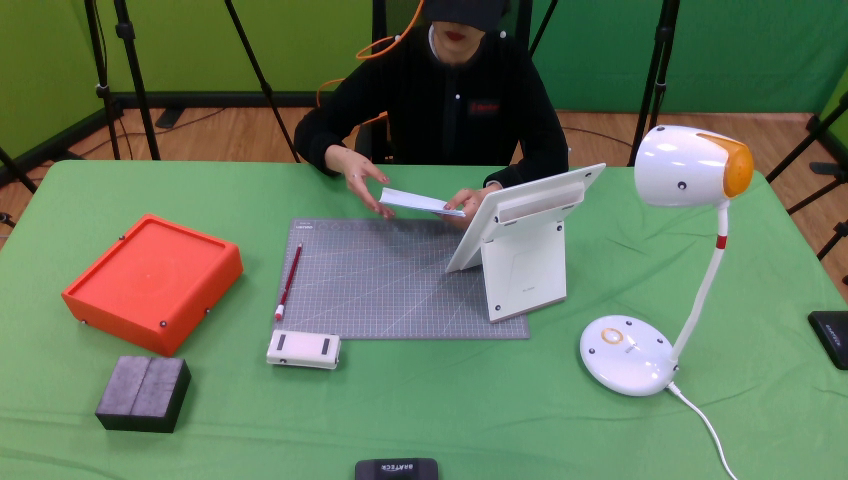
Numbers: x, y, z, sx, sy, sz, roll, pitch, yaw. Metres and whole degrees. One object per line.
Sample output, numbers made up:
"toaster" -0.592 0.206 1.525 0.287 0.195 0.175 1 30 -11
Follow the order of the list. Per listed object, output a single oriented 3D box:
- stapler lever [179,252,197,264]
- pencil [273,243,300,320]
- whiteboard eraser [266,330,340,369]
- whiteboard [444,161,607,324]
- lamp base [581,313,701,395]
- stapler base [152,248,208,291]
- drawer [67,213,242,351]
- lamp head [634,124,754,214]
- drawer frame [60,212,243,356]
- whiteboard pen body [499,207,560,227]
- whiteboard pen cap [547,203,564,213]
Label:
"stapler lever" -0.441 0.025 1.087 0.117 0.040 0.027 29 35 31
"pencil" -0.249 0.071 1.115 0.012 0.012 0.193 5 44 1
"whiteboard eraser" -0.198 0.181 0.994 0.113 0.042 0.055 5 45 1
"whiteboard" 0.186 0.025 1.029 0.217 0.306 0.143 -15 68 -18
"lamp base" 0.361 0.144 0.973 0.178 0.181 0.160 34 53 23
"stapler base" -0.443 0.048 1.100 0.130 0.024 0.041 31 36 30
"drawer" -0.461 0.068 1.057 0.194 0.073 0.211 19 48 13
"lamp head" 0.351 -0.089 0.776 0.112 0.113 0.122 -30 30 -28
"drawer frame" -0.462 0.070 1.053 0.201 0.083 0.213 18 48 12
"whiteboard pen body" 0.222 -0.051 1.259 0.141 0.017 0.017 -15 49 -16
"whiteboard pen cap" 0.277 -0.066 1.275 0.033 0.018 0.018 -18 50 -15
